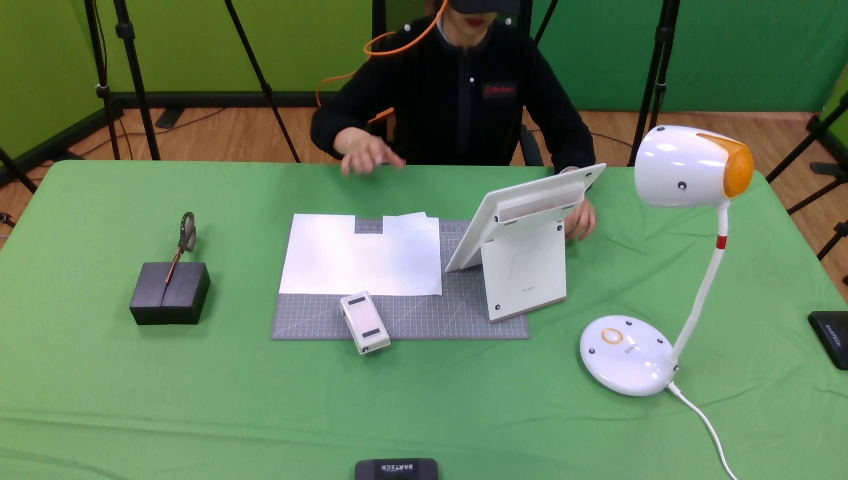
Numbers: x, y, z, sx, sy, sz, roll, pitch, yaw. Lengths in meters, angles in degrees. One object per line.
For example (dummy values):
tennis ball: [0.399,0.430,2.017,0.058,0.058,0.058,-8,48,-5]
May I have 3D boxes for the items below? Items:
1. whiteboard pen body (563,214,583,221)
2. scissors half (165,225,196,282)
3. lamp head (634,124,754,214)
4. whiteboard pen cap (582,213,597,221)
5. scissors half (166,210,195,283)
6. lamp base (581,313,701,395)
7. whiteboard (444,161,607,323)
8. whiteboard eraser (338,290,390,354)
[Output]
whiteboard pen body: [0.282,-0.047,1.258,0.141,0.017,0.017,-1,46,-3]
scissors half: [-0.444,0.025,1.107,0.013,0.040,0.174,4,30,-5]
lamp head: [0.351,-0.089,0.775,0.112,0.113,0.122,-30,30,-28]
whiteboard pen cap: [0.342,-0.048,1.260,0.033,0.018,0.018,-3,46,-3]
scissors half: [-0.440,0.010,1.094,0.013,0.040,0.174,7,48,-9]
lamp base: [0.361,0.144,0.973,0.178,0.181,0.160,34,53,23]
whiteboard: [0.186,0.025,1.029,0.217,0.306,0.143,-14,68,-18]
whiteboard eraser: [-0.103,0.141,1.035,0.056,0.042,0.112,-15,49,-19]
